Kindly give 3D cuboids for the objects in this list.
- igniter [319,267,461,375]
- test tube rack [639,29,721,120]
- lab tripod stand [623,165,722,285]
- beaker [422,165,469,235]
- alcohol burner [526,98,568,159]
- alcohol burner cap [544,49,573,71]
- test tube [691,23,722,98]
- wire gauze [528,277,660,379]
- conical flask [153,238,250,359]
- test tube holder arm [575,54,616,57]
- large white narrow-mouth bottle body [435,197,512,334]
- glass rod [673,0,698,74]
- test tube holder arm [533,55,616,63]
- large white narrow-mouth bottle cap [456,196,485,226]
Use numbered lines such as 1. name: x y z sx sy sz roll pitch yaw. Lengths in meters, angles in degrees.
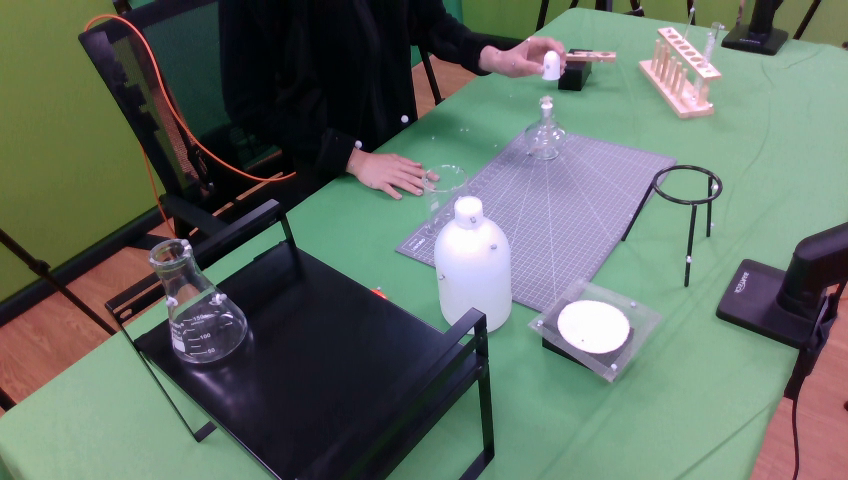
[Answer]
1. igniter: -0.060 0.108 0.862 0.274 0.025 0.057 29 62 35
2. test tube rack: 0.527 -0.351 1.262 0.067 0.085 0.241 -8 40 1
3. lab tripod stand: 0.365 -0.030 0.874 0.148 0.132 0.147 -6 41 6
4. beaker: 0.041 -0.063 0.986 0.073 0.101 0.084 20 47 29
5. alcohol burner: 0.228 -0.210 1.118 0.078 0.119 0.077 -5 43 5
6. alcohol burner cap: 0.232 -0.311 1.051 0.048 0.034 0.033 -9 40 4
7. test tube: 0.547 -0.345 1.173 0.017 0.151 0.017 0 42 0
8. wire gauze: 0.214 0.103 0.763 0.124 0.011 0.122 30 52 35
9. conical flask: -0.225 0.055 0.597 0.075 0.122 0.075 -5 41 4
10. test tube holder arm: 0.373 -0.398 1.318 0.087 0.015 0.010 5 51 16
11. large white narrow-mouth bottle body: 0.066 0.028 0.805 0.102 0.195 0.101 -4 40 4
12. glass rod: 0.537 -0.424 1.244 0.008 0.200 0.008 0 47 0
13. test tube holder arm: 0.329 -0.398 1.327 0.178 0.015 0.013 5 51 15
14. large white narrow-mouth bottle cap: 0.057 -0.037 0.749 0.038 0.024 0.037 -4 40 4
